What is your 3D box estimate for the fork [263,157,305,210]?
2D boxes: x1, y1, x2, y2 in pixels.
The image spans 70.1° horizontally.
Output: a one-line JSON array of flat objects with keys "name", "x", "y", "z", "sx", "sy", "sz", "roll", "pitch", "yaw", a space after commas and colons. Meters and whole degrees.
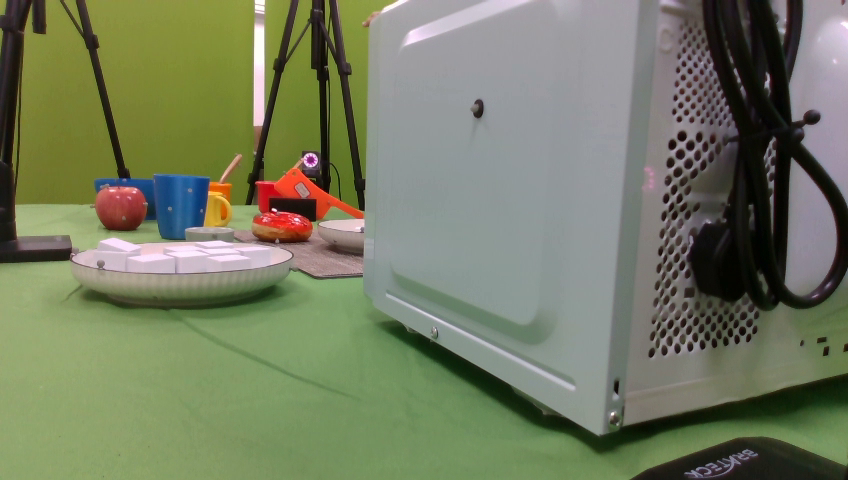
[{"name": "fork", "x": -0.345, "y": -0.143, "z": 1.505, "sx": 0.028, "sy": 0.019, "sz": 0.207, "roll": -6, "pitch": 45, "yaw": 31}]

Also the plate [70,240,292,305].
[{"name": "plate", "x": -0.242, "y": 0.031, "z": 0.618, "sx": 0.208, "sy": 0.039, "sz": 0.207, "roll": 2, "pitch": 8, "yaw": 0}]

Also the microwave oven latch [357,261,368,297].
[{"name": "microwave oven latch", "x": -0.019, "y": 0.033, "z": 0.531, "sx": 0.079, "sy": 0.029, "sz": 0.030, "roll": -1, "pitch": 7, "yaw": -27}]

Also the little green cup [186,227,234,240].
[{"name": "little green cup", "x": -0.285, "y": 0.005, "z": 0.805, "sx": 0.061, "sy": 0.038, "sz": 0.061, "roll": 2, "pitch": 8, "yaw": 0}]

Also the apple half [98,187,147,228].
[{"name": "apple half", "x": -0.534, "y": -0.059, "z": 1.071, "sx": 0.082, "sy": 0.081, "sz": 0.032, "roll": -1, "pitch": 12, "yaw": -25}]

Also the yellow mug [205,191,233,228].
[{"name": "yellow mug", "x": -0.415, "y": -0.057, "z": 1.132, "sx": 0.130, "sy": 0.064, "sz": 0.100, "roll": 6, "pitch": 8, "yaw": 16}]

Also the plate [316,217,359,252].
[{"name": "plate", "x": -0.064, "y": -0.007, "z": 0.943, "sx": 0.209, "sy": 0.038, "sz": 0.209, "roll": 3, "pitch": 8, "yaw": 0}]

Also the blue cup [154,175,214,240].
[{"name": "blue cup", "x": -0.390, "y": -0.053, "z": 0.978, "sx": 0.093, "sy": 0.100, "sz": 0.092, "roll": 3, "pitch": 6, "yaw": 0}]

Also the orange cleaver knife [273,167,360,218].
[{"name": "orange cleaver knife", "x": -0.238, "y": -0.091, "z": 1.381, "sx": 0.212, "sy": 0.077, "sz": 0.012, "roll": 31, "pitch": 2, "yaw": -19}]

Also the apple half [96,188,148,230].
[{"name": "apple half", "x": -0.517, "y": -0.052, "z": 1.036, "sx": 0.081, "sy": 0.074, "sz": 0.053, "roll": 3, "pitch": 10, "yaw": -26}]

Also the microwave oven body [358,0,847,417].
[{"name": "microwave oven body", "x": 0.211, "y": -0.047, "z": 0.474, "sx": 0.444, "sy": 0.260, "sz": 0.324, "roll": -1, "pitch": 7, "yaw": -28}]

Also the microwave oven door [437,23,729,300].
[{"name": "microwave oven door", "x": 0.181, "y": -0.072, "z": 0.621, "sx": 0.358, "sy": 0.243, "sz": 0.039, "roll": -2, "pitch": 8, "yaw": -29}]

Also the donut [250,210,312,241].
[{"name": "donut", "x": -0.231, "y": -0.022, "z": 0.983, "sx": 0.099, "sy": 0.048, "sz": 0.099, "roll": 5, "pitch": 7, "yaw": 0}]

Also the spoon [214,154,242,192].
[{"name": "spoon", "x": -0.439, "y": -0.124, "z": 1.318, "sx": 0.041, "sy": 0.193, "sz": 0.022, "roll": 5, "pitch": -37, "yaw": 16}]

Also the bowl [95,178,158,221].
[{"name": "bowl", "x": -0.576, "y": -0.081, "z": 1.217, "sx": 0.151, "sy": 0.077, "sz": 0.151, "roll": 3, "pitch": 8, "yaw": 0}]
